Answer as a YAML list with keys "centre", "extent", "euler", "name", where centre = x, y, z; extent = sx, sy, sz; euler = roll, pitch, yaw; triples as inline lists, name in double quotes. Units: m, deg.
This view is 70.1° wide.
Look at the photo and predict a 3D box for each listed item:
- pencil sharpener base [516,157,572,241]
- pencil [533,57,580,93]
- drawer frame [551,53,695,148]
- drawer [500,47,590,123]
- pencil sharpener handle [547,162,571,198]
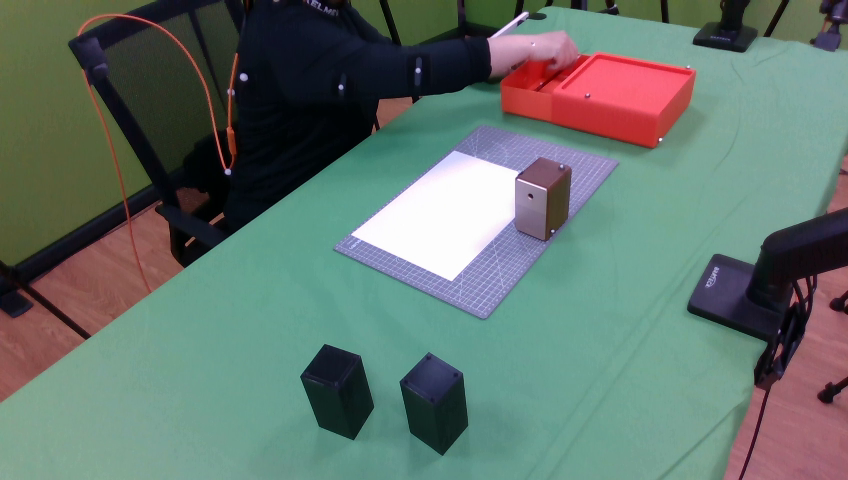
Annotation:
- centre: [0.189, -0.065, 0.948]
  extent: [0.061, 0.107, 0.077]
  euler: [24, 49, 33]
  name: "pencil sharpener base"
- centre: [0.256, -0.328, 1.271]
  extent: [0.194, 0.012, 0.012]
  euler: [-38, 46, -6]
  name: "pencil"
- centre: [0.391, -0.281, 1.196]
  extent: [0.212, 0.083, 0.202]
  euler: [22, 48, 30]
  name: "drawer frame"
- centre: [0.296, -0.317, 1.256]
  extent: [0.210, 0.073, 0.195]
  euler: [22, 47, 30]
  name: "drawer"
- centre: [0.221, -0.101, 0.967]
  extent: [0.035, 0.068, 0.031]
  euler: [18, 45, 38]
  name: "pencil sharpener handle"
